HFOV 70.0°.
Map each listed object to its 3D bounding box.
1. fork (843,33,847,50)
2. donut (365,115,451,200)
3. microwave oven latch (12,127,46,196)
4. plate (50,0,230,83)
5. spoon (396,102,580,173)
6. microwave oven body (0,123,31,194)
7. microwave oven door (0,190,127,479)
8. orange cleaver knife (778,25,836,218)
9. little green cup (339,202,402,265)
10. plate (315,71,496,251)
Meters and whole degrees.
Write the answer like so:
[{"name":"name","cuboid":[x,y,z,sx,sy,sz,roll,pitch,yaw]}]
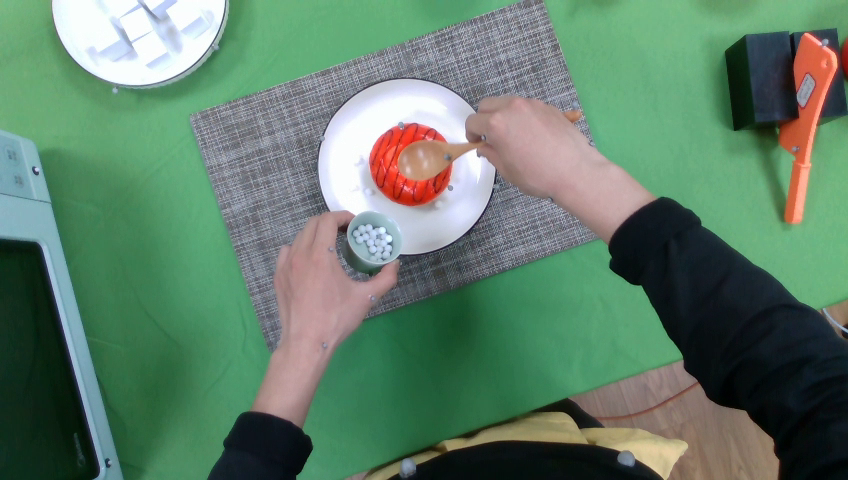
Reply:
[{"name":"fork","cuboid":[0.580,-0.225,0.658,0.206,0.019,0.028,8,86,43]},{"name":"donut","cuboid":[-0.018,-0.095,0.698,0.099,0.048,0.099,0,90,3]},{"name":"microwave oven latch","cuboid":[-0.465,-0.088,0.698,0.030,0.029,0.079,-15,89,0]},{"name":"plate","cuboid":[-0.332,-0.286,0.722,0.208,0.039,0.207,0,88,1]},{"name":"spoon","cuboid":[0.057,-0.102,0.592,0.193,0.022,0.041,-11,92,31]},{"name":"microwave oven body","cuboid":[-0.560,0.118,0.596,0.326,0.260,0.441,-16,89,-1]},{"name":"microwave oven door","cuboid":[-0.408,0.119,0.590,0.039,0.244,0.355,-17,88,0]},{"name":"orange cleaver knife","cuboid":[0.424,-0.130,0.688,0.012,0.076,0.213,-4,117,3]},{"name":"little green cup","cuboid":[-0.058,-0.005,0.631,0.062,0.039,0.061,15,50,-19]},{"name":"plate","cuboid":[-0.022,-0.090,0.709,0.209,0.038,0.209,0,89,1]}]
